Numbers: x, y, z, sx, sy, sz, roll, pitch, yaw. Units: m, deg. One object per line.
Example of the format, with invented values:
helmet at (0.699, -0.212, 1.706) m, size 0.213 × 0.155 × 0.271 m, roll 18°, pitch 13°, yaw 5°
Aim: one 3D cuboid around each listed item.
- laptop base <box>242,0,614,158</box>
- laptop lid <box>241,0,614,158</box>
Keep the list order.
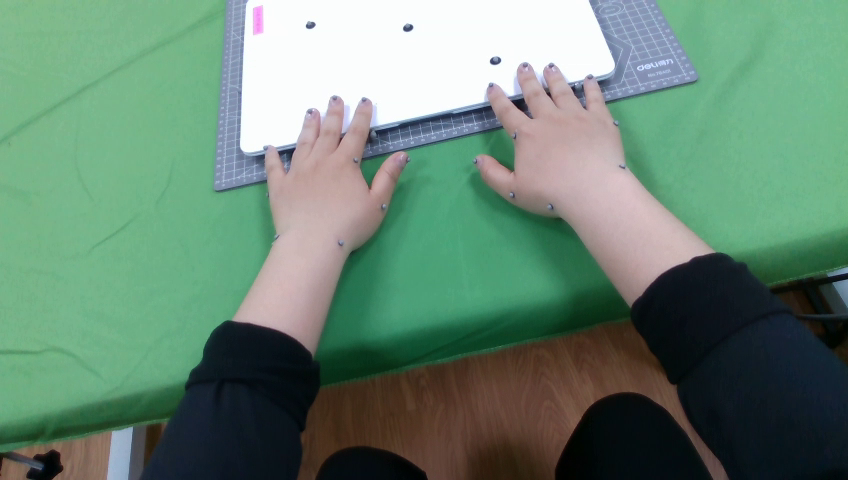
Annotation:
laptop base at (-0.012, -0.203, 0.621) m, size 0.354 × 0.023 × 0.233 m, roll -11°, pitch 59°, yaw 4°
laptop lid at (-0.014, -0.207, 0.610) m, size 0.356 × 0.013 × 0.239 m, roll -10°, pitch 59°, yaw 5°
